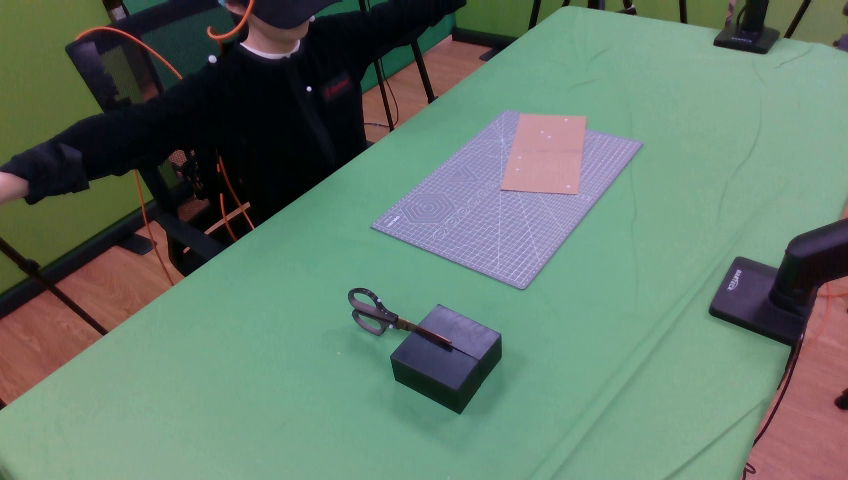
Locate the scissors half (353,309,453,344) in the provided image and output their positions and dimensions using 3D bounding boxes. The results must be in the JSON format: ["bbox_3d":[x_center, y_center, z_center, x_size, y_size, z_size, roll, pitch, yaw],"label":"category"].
[{"bbox_3d":[-0.030,0.119,0.806,0.174,0.040,0.013,6,35,40],"label":"scissors half"}]

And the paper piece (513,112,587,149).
[{"bbox_3d":[0.251,-0.215,1.196,0.135,0.004,0.135,6,42,14],"label":"paper piece"}]

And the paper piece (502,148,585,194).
[{"bbox_3d":[0.219,-0.128,1.101,0.135,0.009,0.138,2,42,17],"label":"paper piece"}]

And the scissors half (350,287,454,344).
[{"bbox_3d":[-0.032,0.101,0.796,0.174,0.040,0.013,23,39,29],"label":"scissors half"}]
